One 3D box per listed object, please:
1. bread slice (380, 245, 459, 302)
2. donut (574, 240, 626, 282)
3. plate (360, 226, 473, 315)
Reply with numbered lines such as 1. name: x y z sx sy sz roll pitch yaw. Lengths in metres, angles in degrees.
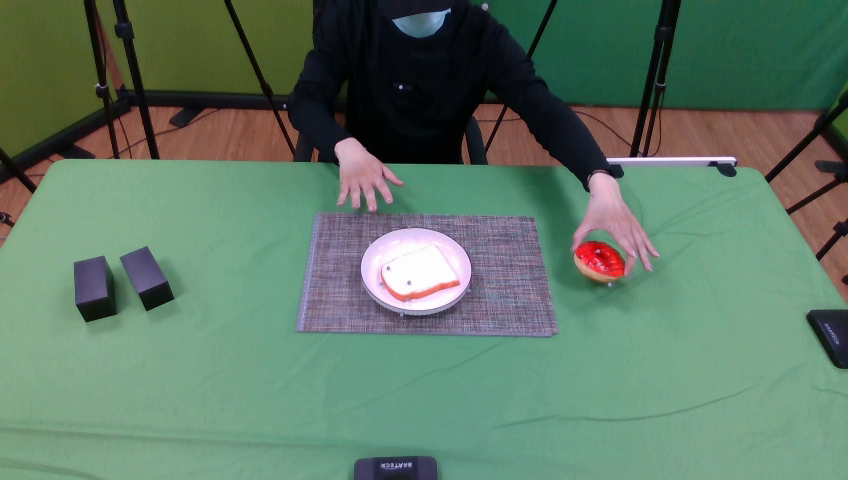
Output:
1. bread slice: -0.014 0.063 1.122 0.132 0.019 0.104 -18 49 -21
2. donut: 0.327 0.039 1.126 0.099 0.048 0.098 10 36 -7
3. plate: -0.013 0.059 1.124 0.208 0.039 0.206 2 46 -2
